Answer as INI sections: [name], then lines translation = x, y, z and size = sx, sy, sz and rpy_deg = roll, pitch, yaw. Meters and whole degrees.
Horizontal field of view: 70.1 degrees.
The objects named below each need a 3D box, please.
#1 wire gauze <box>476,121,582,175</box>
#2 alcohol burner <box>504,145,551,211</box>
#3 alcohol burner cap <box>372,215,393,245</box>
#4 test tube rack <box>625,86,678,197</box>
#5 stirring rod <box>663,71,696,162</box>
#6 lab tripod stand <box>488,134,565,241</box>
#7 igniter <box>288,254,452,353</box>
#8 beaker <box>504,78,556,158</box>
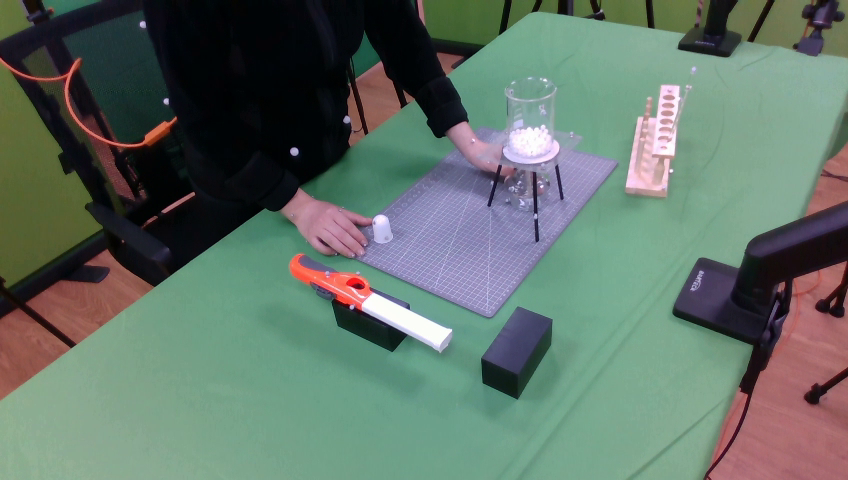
[wire gauze]
translation = 0.162, -0.141, 0.929
size = 0.120, 0.011, 0.125
rpy_deg = 19, 49, 32
[alcohol burner]
translation = 0.172, -0.107, 1.004
size = 0.078, 0.119, 0.077
rpy_deg = -5, 42, 5
[alcohol burner cap]
translation = -0.070, -0.019, 0.989
size = 0.034, 0.048, 0.033
rpy_deg = -4, 41, 4
[test tube rack]
translation = 0.412, -0.184, 1.088
size = 0.066, 0.085, 0.242
rpy_deg = 9, 43, 18
[stirring rod]
translation = 0.411, -0.195, 0.981
size = 0.014, 0.177, 0.006
rpy_deg = 13, 50, 15
[lab tripod stand]
translation = 0.168, -0.092, 0.972
size = 0.148, 0.132, 0.147
rpy_deg = -5, 41, 5
[igniter]
translation = -0.083, 0.080, 0.818
size = 0.274, 0.025, 0.057
rpy_deg = 23, 46, 27
[beaker]
translation = 0.160, -0.181, 0.900
size = 0.084, 0.101, 0.073
rpy_deg = -33, 45, -27
